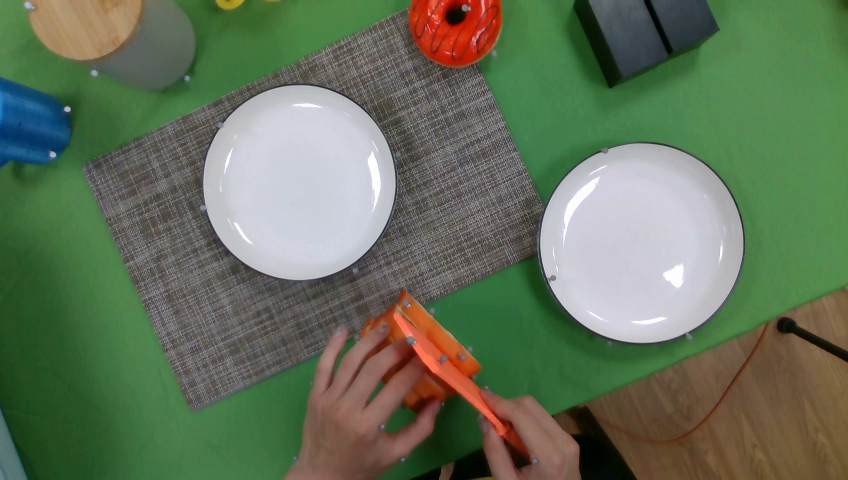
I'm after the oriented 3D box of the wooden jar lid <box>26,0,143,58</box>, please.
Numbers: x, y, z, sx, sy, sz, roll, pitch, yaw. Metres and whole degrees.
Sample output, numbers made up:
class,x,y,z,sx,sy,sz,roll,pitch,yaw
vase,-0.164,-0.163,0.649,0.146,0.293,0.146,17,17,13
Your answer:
class,x,y,z,sx,sy,sz,roll,pitch,yaw
wooden jar lid,-0.307,-0.219,0.554,0.108,0.021,0.108,0,89,5

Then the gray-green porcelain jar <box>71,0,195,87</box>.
class,x,y,z,sx,sy,sz,roll,pitch,yaw
gray-green porcelain jar,-0.303,-0.219,0.616,0.106,0.126,0.106,0,90,3

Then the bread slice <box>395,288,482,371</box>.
class,x,y,z,sx,sy,sz,roll,pitch,yaw
bread slice,0.013,0.091,0.601,0.107,0.134,0.018,43,84,-3

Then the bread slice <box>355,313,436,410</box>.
class,x,y,z,sx,sy,sz,roll,pitch,yaw
bread slice,-0.029,0.121,0.604,0.019,0.131,0.105,-43,89,0

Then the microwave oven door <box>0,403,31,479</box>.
class,x,y,z,sx,sy,sz,roll,pitch,yaw
microwave oven door,-0.487,0.206,0.558,0.039,0.244,0.355,-22,89,4

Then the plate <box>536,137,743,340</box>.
class,x,y,z,sx,sy,sz,roll,pitch,yaw
plate,0.221,-0.002,0.635,0.209,0.038,0.209,0,91,4

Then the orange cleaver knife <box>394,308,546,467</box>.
class,x,y,z,sx,sy,sz,roll,pitch,yaw
orange cleaver knife,0.044,0.133,0.534,0.012,0.076,0.213,-40,121,4

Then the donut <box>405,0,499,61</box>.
class,x,y,z,sx,sy,sz,roll,pitch,yaw
donut,0.030,-0.236,0.634,0.099,0.048,0.099,0,91,3

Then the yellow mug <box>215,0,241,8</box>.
class,x,y,z,sx,sy,sz,roll,pitch,yaw
yellow mug,-0.182,-0.304,0.638,0.100,0.064,0.131,34,93,2

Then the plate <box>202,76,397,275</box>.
class,x,y,z,sx,sy,sz,roll,pitch,yaw
plate,-0.130,-0.067,0.650,0.207,0.039,0.207,0,91,3

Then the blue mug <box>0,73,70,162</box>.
class,x,y,z,sx,sy,sz,roll,pitch,yaw
blue mug,-0.454,-0.119,0.636,0.082,0.106,0.116,40,93,3
